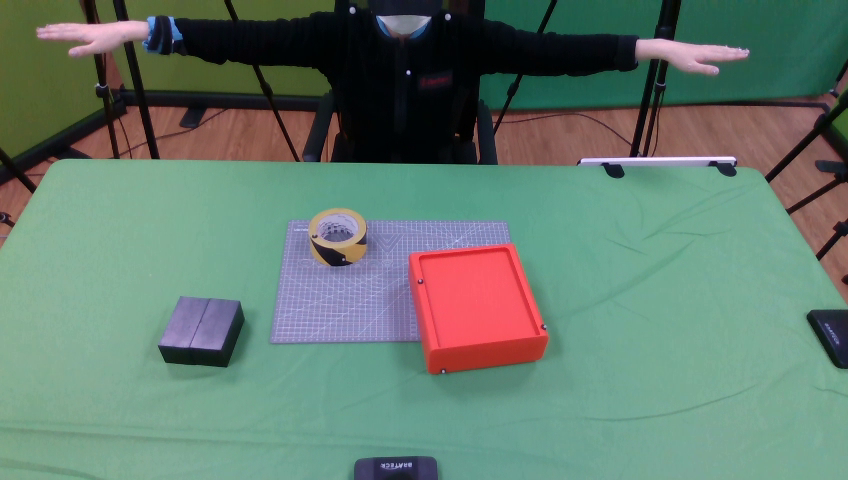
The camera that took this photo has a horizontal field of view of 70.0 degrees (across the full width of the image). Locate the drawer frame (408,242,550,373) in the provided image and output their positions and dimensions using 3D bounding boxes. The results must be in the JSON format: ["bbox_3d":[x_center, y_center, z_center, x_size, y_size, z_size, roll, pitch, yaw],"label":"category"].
[{"bbox_3d":[0.087,0.111,1.051,0.202,0.083,0.212,-6,48,-10],"label":"drawer frame"}]

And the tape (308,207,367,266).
[{"bbox_3d":[-0.167,-0.008,1.167,0.117,0.053,0.116,3,46,-3],"label":"tape"}]

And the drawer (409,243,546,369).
[{"bbox_3d":[0.085,0.110,1.053,0.195,0.073,0.210,-5,47,-10],"label":"drawer"}]
